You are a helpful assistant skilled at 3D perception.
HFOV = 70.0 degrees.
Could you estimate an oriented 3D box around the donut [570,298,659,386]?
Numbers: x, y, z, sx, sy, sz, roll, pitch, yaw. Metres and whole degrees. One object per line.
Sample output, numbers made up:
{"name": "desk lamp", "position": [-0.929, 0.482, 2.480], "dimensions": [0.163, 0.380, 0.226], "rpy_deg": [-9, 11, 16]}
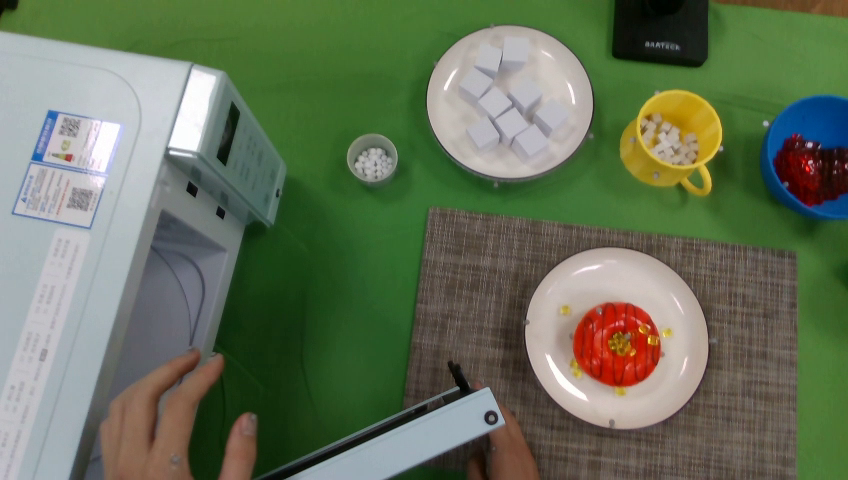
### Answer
{"name": "donut", "position": [0.213, 0.114, 0.682], "dimensions": [0.099, 0.048, 0.098], "rpy_deg": [0, 81, 2]}

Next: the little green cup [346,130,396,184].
{"name": "little green cup", "position": [-0.063, -0.099, 0.739], "dimensions": [0.061, 0.039, 0.061], "rpy_deg": [0, 79, 0]}

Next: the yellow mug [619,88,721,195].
{"name": "yellow mug", "position": [0.303, -0.111, 0.731], "dimensions": [0.100, 0.064, 0.130], "rpy_deg": [-29, 80, -6]}

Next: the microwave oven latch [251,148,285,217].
{"name": "microwave oven latch", "position": [-0.186, -0.070, 0.715], "dimensions": [0.030, 0.029, 0.079], "rpy_deg": [13, 79, 2]}

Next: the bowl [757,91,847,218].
{"name": "bowl", "position": [0.461, -0.091, 0.721], "dimensions": [0.151, 0.077, 0.150], "rpy_deg": [0, 78, 0]}

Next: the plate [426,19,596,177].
{"name": "plate", "position": [0.107, -0.174, 0.758], "dimensions": [0.208, 0.039, 0.206], "rpy_deg": [0, 78, 0]}

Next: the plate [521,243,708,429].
{"name": "plate", "position": [0.213, 0.108, 0.694], "dimensions": [0.209, 0.038, 0.208], "rpy_deg": [0, 79, 0]}

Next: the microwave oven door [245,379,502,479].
{"name": "microwave oven door", "position": [-0.106, 0.216, 0.552], "dimensions": [0.356, 0.245, 0.039], "rpy_deg": [-23, 78, -5]}

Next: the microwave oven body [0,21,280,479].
{"name": "microwave oven body", "position": [-0.365, 0.053, 0.591], "dimensions": [0.326, 0.261, 0.440], "rpy_deg": [11, 79, 2]}
